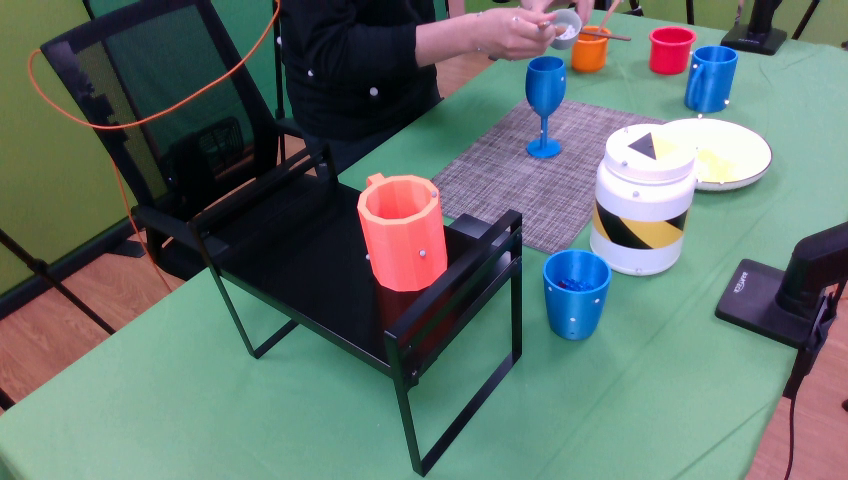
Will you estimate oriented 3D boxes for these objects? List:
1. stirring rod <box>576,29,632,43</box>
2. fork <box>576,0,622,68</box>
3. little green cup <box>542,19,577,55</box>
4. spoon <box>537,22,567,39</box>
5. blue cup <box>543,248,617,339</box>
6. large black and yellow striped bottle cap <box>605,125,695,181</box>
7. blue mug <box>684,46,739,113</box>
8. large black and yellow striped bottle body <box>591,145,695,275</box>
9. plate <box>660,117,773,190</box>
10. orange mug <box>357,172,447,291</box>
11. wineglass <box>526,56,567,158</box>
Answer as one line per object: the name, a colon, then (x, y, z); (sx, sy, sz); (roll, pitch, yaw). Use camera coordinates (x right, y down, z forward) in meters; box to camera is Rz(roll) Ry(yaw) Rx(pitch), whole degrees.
stirring rod: (0.381, -0.462, 1.356); (0.175, 0.006, 0.014); (23, 48, 29)
fork: (0.409, -0.484, 1.381); (0.028, 0.019, 0.207); (37, 101, 46)
little green cup: (0.244, -0.360, 1.079); (0.061, 0.039, 0.061); (-15, 42, 14)
spoon: (0.193, -0.329, 0.940); (0.041, 0.021, 0.194); (2, 14, 19)
blue cup: (0.199, 0.076, 0.797); (0.092, 0.100, 0.092); (-4, 39, 4)
large black and yellow striped bottle cap: (0.304, -0.120, 0.817); (0.115, 0.019, 0.114); (-3, 41, 3)
blue mug: (0.556, -0.310, 1.190); (0.117, 0.106, 0.081); (-32, 46, -25)
large black and yellow striped bottle body: (0.313, -0.056, 0.870); (0.131, 0.185, 0.130); (-4, 40, 4)
plate: (0.495, -0.148, 1.063); (0.209, 0.038, 0.208); (-5, 40, 4)
orange mug: (-0.030, -0.018, 0.669); (0.084, 0.101, 0.125); (-23, 46, -16)
wineglass: (0.222, -0.241, 1.102); (0.074, 0.173, 0.073); (-5, 41, 4)
